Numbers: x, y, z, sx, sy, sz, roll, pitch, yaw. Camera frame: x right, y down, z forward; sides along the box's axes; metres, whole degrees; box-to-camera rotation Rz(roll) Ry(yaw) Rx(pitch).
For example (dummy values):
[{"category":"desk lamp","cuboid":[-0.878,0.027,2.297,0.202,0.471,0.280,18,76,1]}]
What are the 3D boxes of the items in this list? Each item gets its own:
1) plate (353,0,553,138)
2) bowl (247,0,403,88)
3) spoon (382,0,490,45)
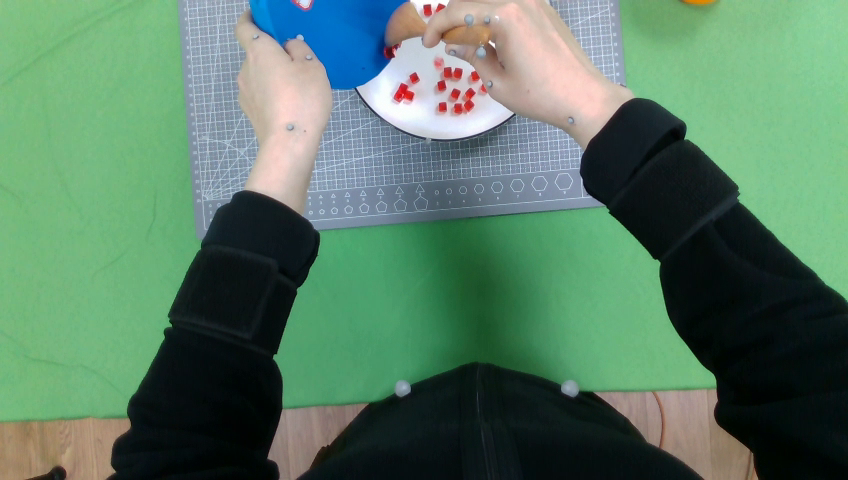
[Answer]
[{"category":"plate","cuboid":[0.022,-0.203,0.600,0.209,0.038,0.209,0,90,3]},{"category":"bowl","cuboid":[-0.093,-0.209,0.506,0.076,0.153,0.151,23,91,38]},{"category":"spoon","cuboid":[0.006,-0.160,0.455,0.022,0.191,0.041,26,99,-33]}]
